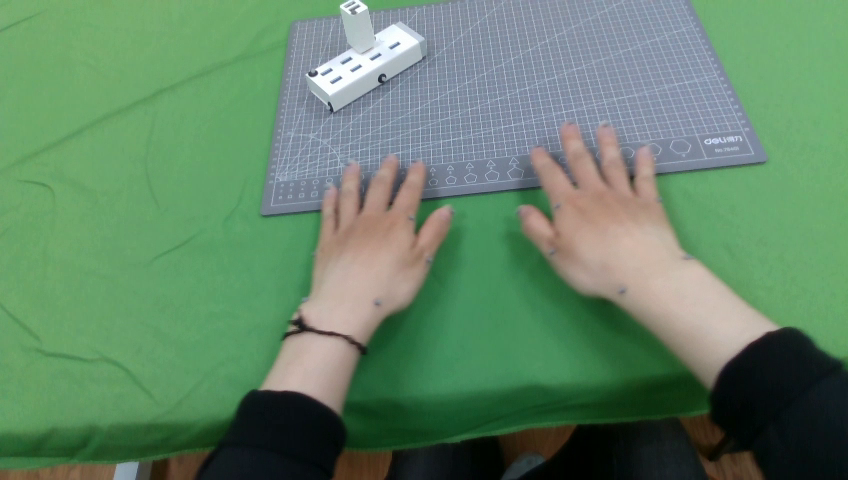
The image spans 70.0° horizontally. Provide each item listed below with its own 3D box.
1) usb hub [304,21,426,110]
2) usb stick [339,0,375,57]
[{"bbox_3d":[-0.061,-0.187,0.642,0.125,0.025,0.049,-35,57,-17],"label":"usb hub"},{"bbox_3d":[-0.068,-0.217,0.628,0.021,0.060,0.027,-37,56,-17],"label":"usb stick"}]
